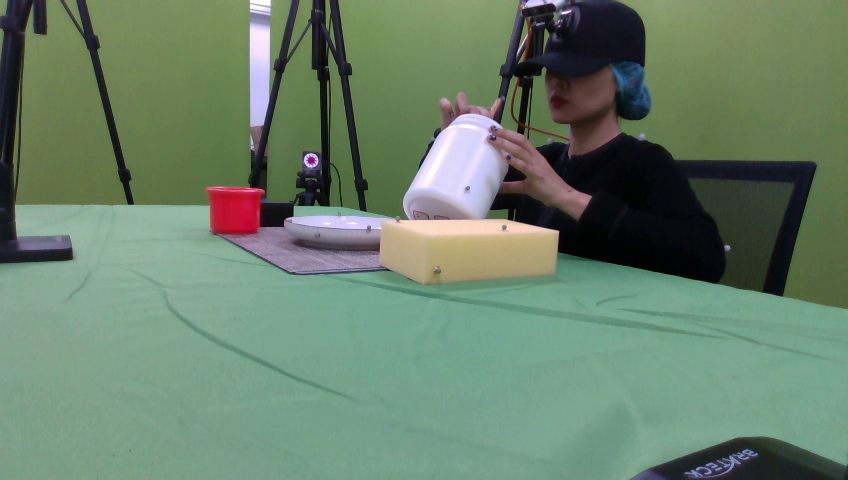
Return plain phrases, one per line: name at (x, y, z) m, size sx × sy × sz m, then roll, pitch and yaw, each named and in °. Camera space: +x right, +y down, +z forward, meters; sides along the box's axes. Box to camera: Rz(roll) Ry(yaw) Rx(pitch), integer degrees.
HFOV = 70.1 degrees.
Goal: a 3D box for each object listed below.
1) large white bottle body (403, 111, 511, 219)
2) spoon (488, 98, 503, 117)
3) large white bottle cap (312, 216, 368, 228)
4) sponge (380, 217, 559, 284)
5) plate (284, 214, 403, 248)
large white bottle body at (0.060, -0.105, 0.971) m, size 0.130 × 0.184 × 0.131 m, roll 20°, pitch -28°, yaw 12°
spoon at (0.093, -0.187, 1.022) m, size 0.041 × 0.021 × 0.194 m, roll -30°, pitch 17°, yaw 50°
large white bottle cap at (-0.171, -0.038, 1.234) m, size 0.115 × 0.018 × 0.115 m, roll 2°, pitch 5°, yaw 0°
sponge at (0.059, 0.008, 0.786) m, size 0.208 × 0.061 × 0.117 m, roll -3°, pitch 11°, yaw -32°
plate at (-0.122, -0.015, 0.984) m, size 0.209 × 0.038 × 0.209 m, roll 2°, pitch 7°, yaw 0°
